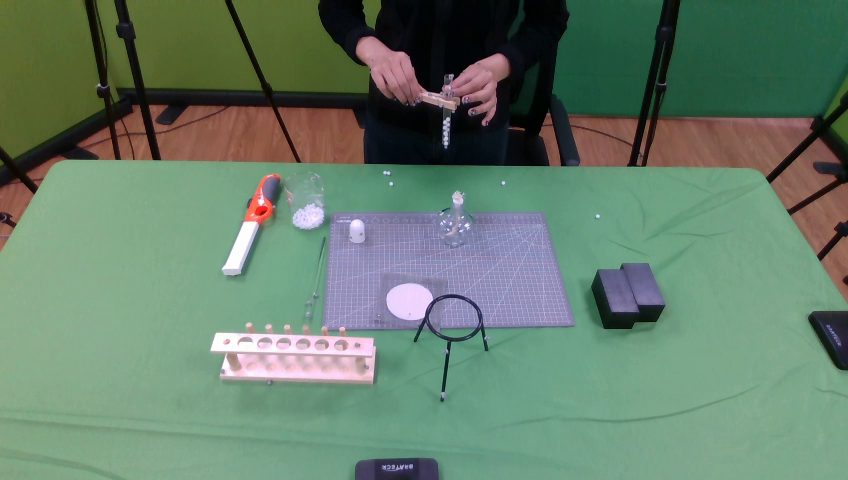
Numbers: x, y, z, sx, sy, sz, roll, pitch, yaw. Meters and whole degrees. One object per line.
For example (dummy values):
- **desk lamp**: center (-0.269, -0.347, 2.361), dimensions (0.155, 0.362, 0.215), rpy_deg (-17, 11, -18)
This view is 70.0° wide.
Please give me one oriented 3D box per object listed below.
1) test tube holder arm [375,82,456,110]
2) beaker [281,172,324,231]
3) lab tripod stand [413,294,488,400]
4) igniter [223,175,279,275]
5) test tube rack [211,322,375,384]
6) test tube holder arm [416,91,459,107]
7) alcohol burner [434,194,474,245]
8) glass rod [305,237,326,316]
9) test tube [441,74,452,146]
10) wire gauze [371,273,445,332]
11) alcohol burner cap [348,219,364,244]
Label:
- **test tube holder arm**: center (-0.018, -0.274, 1.147), dimensions (0.178, 0.015, 0.013), rpy_deg (20, 44, 23)
- **beaker**: center (-0.234, -0.073, 1.199), dimensions (0.084, 0.101, 0.074), rpy_deg (24, 50, 17)
- **lab tripod stand**: center (0.044, 0.159, 0.972), dimensions (0.148, 0.132, 0.147), rpy_deg (2, 44, -2)
- **igniter**: center (-0.341, -0.039, 1.206), dimensions (0.057, 0.025, 0.275), rpy_deg (-1, 45, 8)
- **test tube rack**: center (-0.202, 0.176, 0.969), dimensions (0.242, 0.085, 0.066), rpy_deg (3, 46, -2)
- **test tube holder arm**: center (0.024, -0.265, 1.134), dimensions (0.087, 0.015, 0.010), rpy_deg (14, 42, 18)
- **alcohol burner**: center (0.061, -0.046, 1.183), dimensions (0.078, 0.119, 0.077), rpy_deg (3, 47, -3)
- **glass rod**: center (-0.202, 0.064, 1.131), dimensions (0.008, 0.008, 0.198), rpy_deg (4, 43, 0)
- **test tube**: center (0.041, -0.241, 1.138), dimensions (0.017, 0.151, 0.017), rpy_deg (1, 45, 0)
- **wire gauze**: center (-0.028, 0.108, 1.100), dimensions (0.125, 0.011, 0.121), rpy_deg (7, 45, 4)
- **alcohol burner cap**: center (-0.134, -0.019, 1.190), dimensions (0.034, 0.048, 0.033), rpy_deg (2, 45, -2)
